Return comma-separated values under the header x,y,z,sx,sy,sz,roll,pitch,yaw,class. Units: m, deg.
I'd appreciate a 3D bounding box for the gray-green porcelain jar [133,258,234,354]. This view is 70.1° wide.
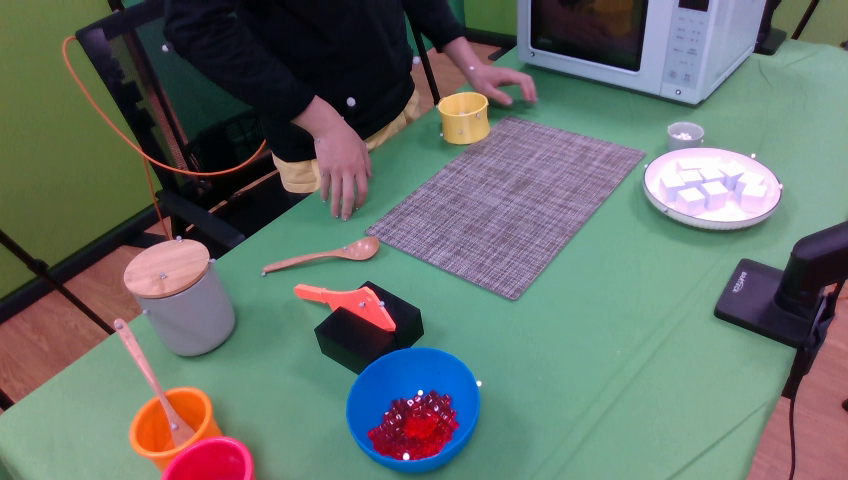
x,y,z,sx,sy,sz,roll,pitch,yaw,class
-0.328,0.087,0.836,0.106,0.127,0.105,-4,41,4,gray-green porcelain jar

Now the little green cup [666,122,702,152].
x,y,z,sx,sy,sz,roll,pitch,yaw,class
0.471,-0.184,1.102,0.061,0.039,0.061,-5,41,5,little green cup

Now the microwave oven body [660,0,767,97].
x,y,z,sx,sy,sz,roll,pitch,yaw,class
0.473,-0.516,1.313,0.438,0.261,0.327,26,51,34,microwave oven body

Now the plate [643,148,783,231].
x,y,z,sx,sy,sz,roll,pitch,yaw,class
0.464,-0.080,0.986,0.207,0.039,0.206,-4,41,4,plate

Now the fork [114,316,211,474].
x,y,z,sx,sy,sz,roll,pitch,yaw,class
-0.309,0.179,0.708,0.028,0.018,0.207,-30,89,-24,fork

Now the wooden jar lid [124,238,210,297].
x,y,z,sx,sy,sz,roll,pitch,yaw,class
-0.334,0.038,0.794,0.108,0.021,0.108,-2,40,2,wooden jar lid

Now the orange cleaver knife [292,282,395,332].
x,y,z,sx,sy,sz,roll,pitch,yaw,class
-0.116,0.091,0.835,0.209,0.077,0.012,2,32,48,orange cleaver knife

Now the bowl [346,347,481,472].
x,y,z,sx,sy,sz,roll,pitch,yaw,class
-0.008,0.205,0.691,0.151,0.077,0.150,-4,40,4,bowl

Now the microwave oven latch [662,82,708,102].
x,y,z,sx,sy,sz,roll,pitch,yaw,class
0.518,-0.298,1.202,0.078,0.029,0.030,28,53,35,microwave oven latch

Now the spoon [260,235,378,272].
x,y,z,sx,sy,sz,roll,pitch,yaw,class
-0.167,0.024,0.966,0.194,0.022,0.041,-10,60,-4,spoon

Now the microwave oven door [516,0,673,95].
x,y,z,sx,sy,sz,roll,pitch,yaw,class
0.344,-0.458,1.256,0.353,0.245,0.039,26,51,33,microwave oven door

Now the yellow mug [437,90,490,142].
x,y,z,sx,sy,sz,roll,pitch,yaw,class
0.070,-0.257,1.224,0.100,0.064,0.129,-33,43,-25,yellow mug
